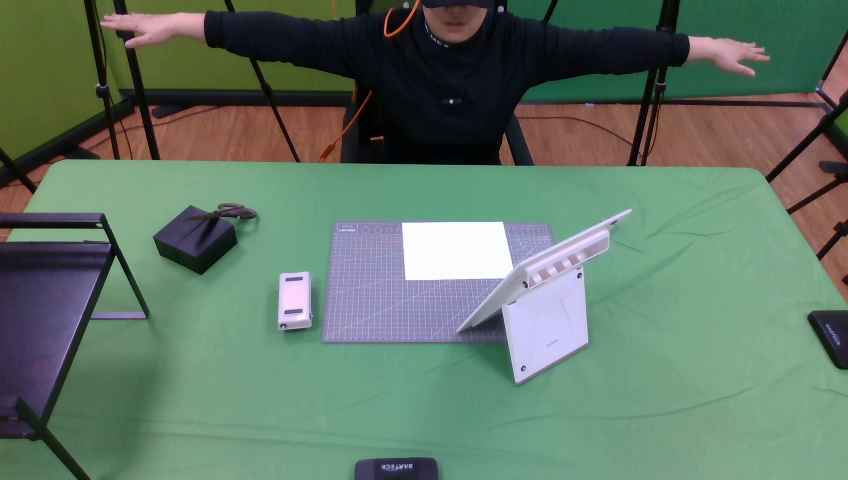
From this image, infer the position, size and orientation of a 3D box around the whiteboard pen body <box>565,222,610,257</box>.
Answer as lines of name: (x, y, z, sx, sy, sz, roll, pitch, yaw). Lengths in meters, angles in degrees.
whiteboard pen body: (0.335, -0.004, 1.228, 0.141, 0.017, 0.017, -32, 56, -29)

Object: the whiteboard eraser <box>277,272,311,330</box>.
whiteboard eraser: (-0.228, 0.108, 1.062, 0.056, 0.042, 0.112, -3, 46, -9)

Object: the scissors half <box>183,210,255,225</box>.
scissors half: (-0.389, -0.042, 1.158, 0.040, 0.013, 0.175, 41, 21, 22)

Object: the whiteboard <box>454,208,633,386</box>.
whiteboard: (0.211, 0.111, 0.954, 0.217, 0.306, 0.143, -22, 72, -24)

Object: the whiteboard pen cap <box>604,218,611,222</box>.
whiteboard pen cap: (0.378, -0.031, 1.255, 0.033, 0.018, 0.018, -33, 57, -29)

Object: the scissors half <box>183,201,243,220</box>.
scissors half: (-0.405, -0.054, 1.163, 0.040, 0.013, 0.175, 29, 18, 7)
